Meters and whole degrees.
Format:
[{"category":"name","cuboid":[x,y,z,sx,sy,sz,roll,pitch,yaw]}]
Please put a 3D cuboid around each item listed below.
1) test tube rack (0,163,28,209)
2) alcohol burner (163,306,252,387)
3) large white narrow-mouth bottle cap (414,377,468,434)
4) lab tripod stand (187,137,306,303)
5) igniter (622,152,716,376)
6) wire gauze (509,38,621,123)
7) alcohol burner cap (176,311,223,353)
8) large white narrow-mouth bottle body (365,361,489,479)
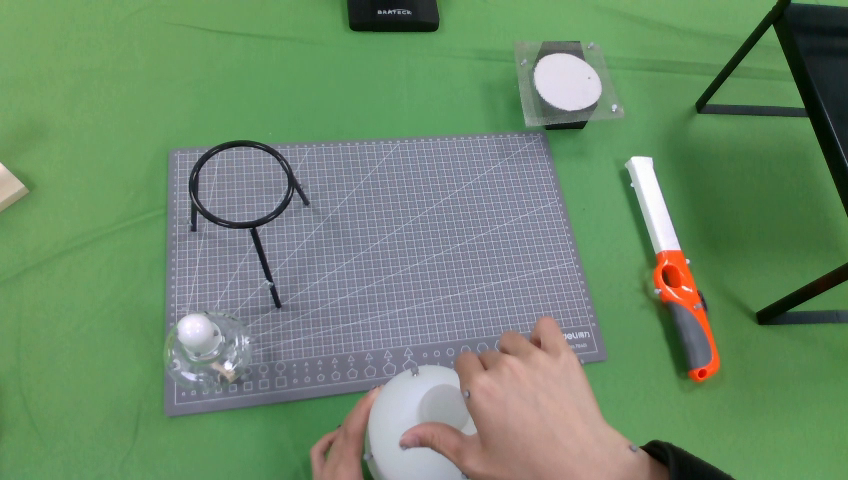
[{"category":"test tube rack","cuboid":[-0.519,-0.013,0.566,0.066,0.085,0.242,40,66,11]},{"category":"alcohol burner","cuboid":[-0.198,0.091,0.548,0.078,0.120,0.077,4,63,-8]},{"category":"large white narrow-mouth bottle cap","cuboid":[0.011,0.116,0.424,0.038,0.024,0.037,3,65,-6]},{"category":"lab tripod stand","cuboid":[-0.168,-0.024,0.594,0.149,0.132,0.147,4,65,-8]},{"category":"igniter","cuboid":[0.282,0.019,0.702,0.057,0.025,0.274,0,66,-20]},{"category":"wire gauze","cuboid":[0.170,-0.199,0.742,0.122,0.011,0.124,-3,67,-10]},{"category":"alcohol burner cap","cuboid":[-0.193,0.077,0.515,0.034,0.048,0.033,2,71,-7]},{"category":"large white narrow-mouth bottle body","cuboid":[0.002,0.157,0.506,0.102,0.196,0.101,3,64,-6]}]
